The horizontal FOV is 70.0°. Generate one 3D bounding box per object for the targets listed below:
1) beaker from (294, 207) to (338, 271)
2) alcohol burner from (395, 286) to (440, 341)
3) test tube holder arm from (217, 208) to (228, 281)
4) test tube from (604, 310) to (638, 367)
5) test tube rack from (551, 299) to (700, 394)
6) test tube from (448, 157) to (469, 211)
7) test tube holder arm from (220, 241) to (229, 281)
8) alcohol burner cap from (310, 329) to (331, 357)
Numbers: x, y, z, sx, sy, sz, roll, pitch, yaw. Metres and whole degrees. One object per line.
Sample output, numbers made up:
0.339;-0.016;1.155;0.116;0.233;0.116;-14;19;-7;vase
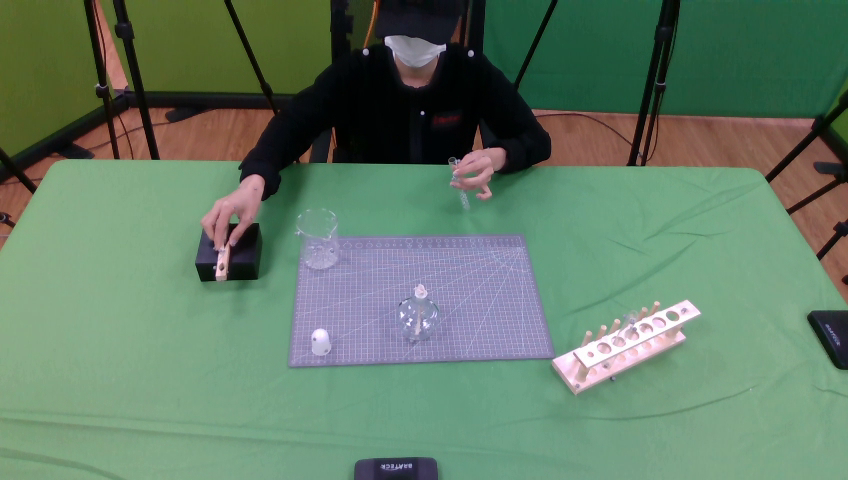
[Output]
-0.196;0.003;1.123;0.074;0.101;0.083;-23;53;-24;beaker
-0.010;0.116;1.018;0.078;0.119;0.077;3;47;-3;alcohol burner
-0.366;0.004;1.101;0.013;0.015;0.177;3;44;-19;test tube holder arm
0.310;0.158;0.957;0.017;0.151;0.017;1;49;-1;test tube
0.339;0.166;1.021;0.242;0.085;0.066;-19;50;-21;test tube rack
0.070;-0.108;1.201;0.017;0.151;0.017;-9;51;11;test tube
-0.353;0.036;1.071;0.010;0.015;0.087;4;44;-17;test tube holder arm
-0.173;0.168;1.004;0.034;0.048;0.033;2;46;-2;alcohol burner cap
